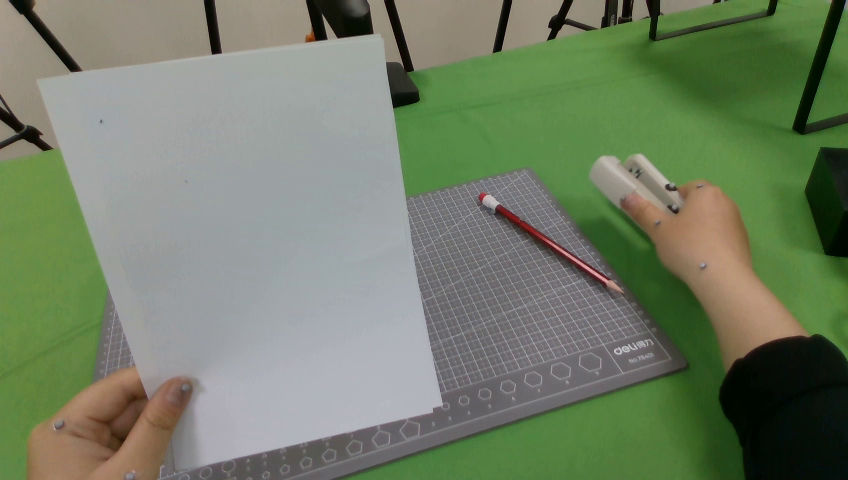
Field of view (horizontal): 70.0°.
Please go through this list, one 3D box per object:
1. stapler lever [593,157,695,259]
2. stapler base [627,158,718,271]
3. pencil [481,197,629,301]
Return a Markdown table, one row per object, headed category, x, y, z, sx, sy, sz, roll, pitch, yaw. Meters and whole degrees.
| category | x | y | z | sx | sy | sz | roll | pitch | yaw |
| --- | --- | --- | --- | --- | --- | --- | --- | --- | --- |
| stapler lever | 0.194 | -0.033 | 0.547 | 0.040 | 0.027 | 0.116 | 9 | 38 | -30 |
| stapler base | 0.215 | -0.029 | 0.561 | 0.024 | 0.041 | 0.129 | 9 | 38 | -29 |
| pencil | 0.117 | 0.004 | 0.571 | 0.012 | 0.012 | 0.192 | -28 | 44 | -23 |
